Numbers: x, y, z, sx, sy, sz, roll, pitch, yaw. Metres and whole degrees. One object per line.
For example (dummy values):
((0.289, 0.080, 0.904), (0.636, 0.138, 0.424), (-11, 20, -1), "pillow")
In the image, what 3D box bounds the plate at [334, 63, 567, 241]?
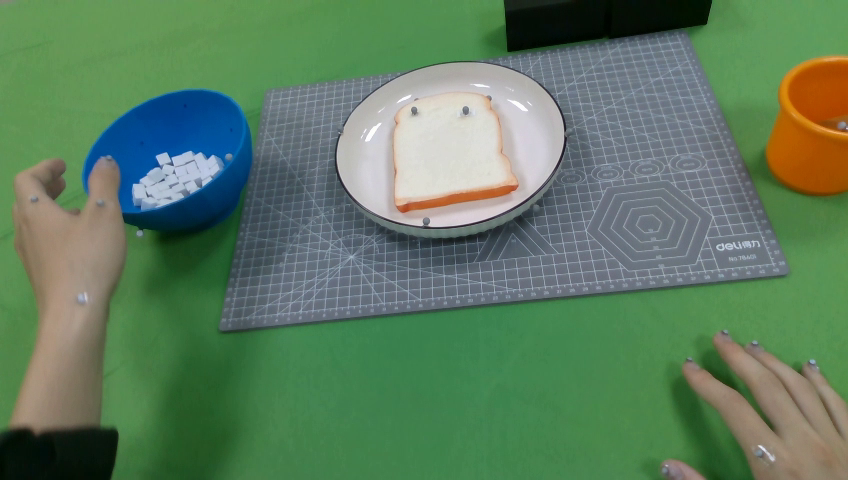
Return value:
((0.023, -0.080, 0.553), (0.209, 0.038, 0.207), (-5, 54, 8), "plate")

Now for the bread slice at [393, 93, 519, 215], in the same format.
((0.020, -0.083, 0.559), (0.107, 0.018, 0.133), (-12, 55, 3), "bread slice")

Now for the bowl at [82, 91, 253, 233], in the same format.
((-0.222, -0.059, 0.563), (0.151, 0.077, 0.150), (-5, 54, 7), "bowl")

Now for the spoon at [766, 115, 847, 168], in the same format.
((0.349, -0.101, 0.439), (0.022, 0.193, 0.041), (29, 56, -23), "spoon")
